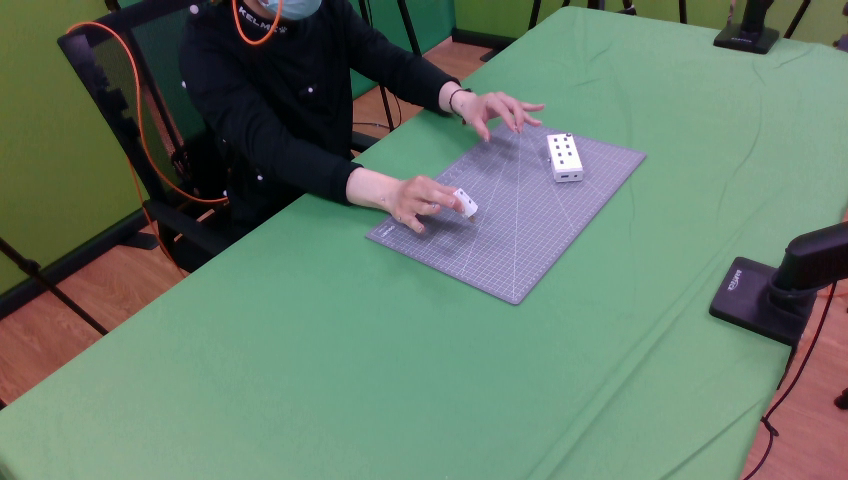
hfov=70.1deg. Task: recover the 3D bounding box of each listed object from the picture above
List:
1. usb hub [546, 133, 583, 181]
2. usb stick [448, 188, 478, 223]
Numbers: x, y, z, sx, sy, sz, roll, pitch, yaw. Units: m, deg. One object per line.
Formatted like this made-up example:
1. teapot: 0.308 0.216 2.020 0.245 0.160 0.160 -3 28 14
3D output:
1. usb hub: 0.256 -0.152 1.103 0.049 0.025 0.124 -3 41 4
2. usb stick: 0.068 -0.054 0.983 0.027 0.059 0.021 -32 17 28
